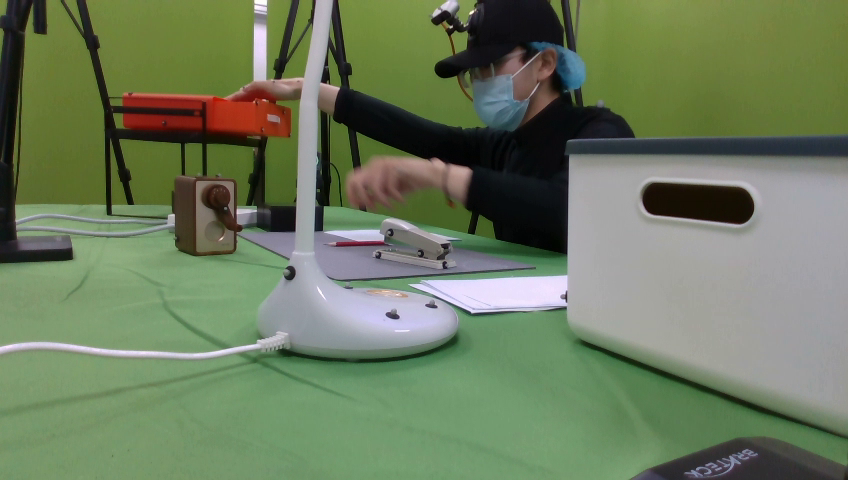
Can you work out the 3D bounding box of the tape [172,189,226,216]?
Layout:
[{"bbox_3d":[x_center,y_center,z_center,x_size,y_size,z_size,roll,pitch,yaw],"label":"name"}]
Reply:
[{"bbox_3d":[-0.515,-0.087,1.388,0.117,0.052,0.117,3,8,0],"label":"tape"}]

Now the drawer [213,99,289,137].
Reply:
[{"bbox_3d":[-0.432,-0.274,1.364,0.211,0.073,0.195,2,8,9],"label":"drawer"}]

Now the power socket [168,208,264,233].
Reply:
[{"bbox_3d":[-0.381,-0.038,1.129,0.072,0.032,0.227,4,8,17],"label":"power socket"}]

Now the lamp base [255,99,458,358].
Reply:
[{"bbox_3d":[-0.056,-0.013,0.462,0.160,0.180,0.180,6,11,27],"label":"lamp base"}]

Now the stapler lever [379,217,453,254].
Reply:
[{"bbox_3d":[-0.013,-0.007,0.827,0.117,0.040,0.027,9,11,39],"label":"stapler lever"}]

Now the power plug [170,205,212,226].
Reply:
[{"bbox_3d":[-0.455,-0.040,1.196,0.052,0.035,0.072,3,44,24],"label":"power plug"}]

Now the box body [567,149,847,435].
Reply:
[{"bbox_3d":[0.318,0.009,0.471,0.366,0.160,0.253,-2,8,-31],"label":"box body"}]

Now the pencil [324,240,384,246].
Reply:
[{"bbox_3d":[-0.067,0.003,0.979,0.195,0.012,0.012,-3,9,-25],"label":"pencil"}]

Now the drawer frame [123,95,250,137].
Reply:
[{"bbox_3d":[-0.524,-0.280,1.376,0.213,0.082,0.202,3,8,8],"label":"drawer frame"}]

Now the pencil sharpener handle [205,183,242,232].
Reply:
[{"bbox_3d":[-0.265,-0.043,0.812,0.036,0.068,0.030,-31,27,-35],"label":"pencil sharpener handle"}]

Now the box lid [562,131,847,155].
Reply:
[{"bbox_3d":[0.322,-0.064,0.463,0.373,0.015,0.262,-2,9,-31],"label":"box lid"}]

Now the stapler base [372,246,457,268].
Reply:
[{"bbox_3d":[-0.016,0.017,0.831,0.130,0.024,0.041,10,12,39],"label":"stapler base"}]

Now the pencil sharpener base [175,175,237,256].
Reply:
[{"bbox_3d":[-0.304,-0.036,0.847,0.062,0.107,0.076,-4,10,-42],"label":"pencil sharpener base"}]
